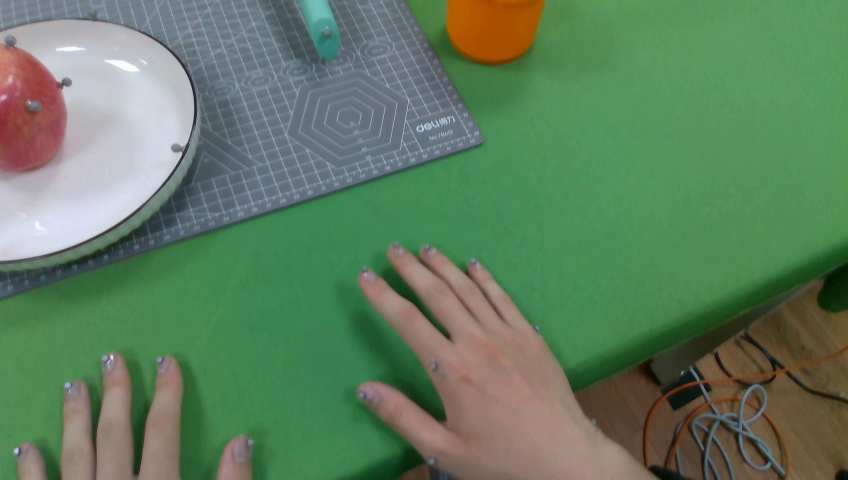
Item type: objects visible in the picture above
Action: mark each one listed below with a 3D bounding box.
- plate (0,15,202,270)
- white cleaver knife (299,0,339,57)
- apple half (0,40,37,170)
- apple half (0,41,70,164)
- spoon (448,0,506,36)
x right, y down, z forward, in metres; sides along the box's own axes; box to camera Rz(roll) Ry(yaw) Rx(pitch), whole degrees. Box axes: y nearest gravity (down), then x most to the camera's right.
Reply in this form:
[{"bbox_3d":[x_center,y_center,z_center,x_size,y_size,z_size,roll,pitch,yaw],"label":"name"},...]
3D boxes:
[{"bbox_3d":[-0.259,-0.069,0.421,0.209,0.038,0.207,2,63,-3],"label":"plate"},{"bbox_3d":[-0.123,-0.276,0.519,0.021,0.066,0.284,-18,75,-11],"label":"white cleaver knife"},{"bbox_3d":[-0.293,-0.085,0.397,0.053,0.075,0.080,-9,66,-3],"label":"apple half"},{"bbox_3d":[-0.255,-0.091,0.402,0.033,0.082,0.080,-11,63,-3],"label":"apple half"},{"bbox_3d":[0.090,-0.236,0.471,0.022,0.194,0.041,6,47,-52],"label":"spoon"}]
